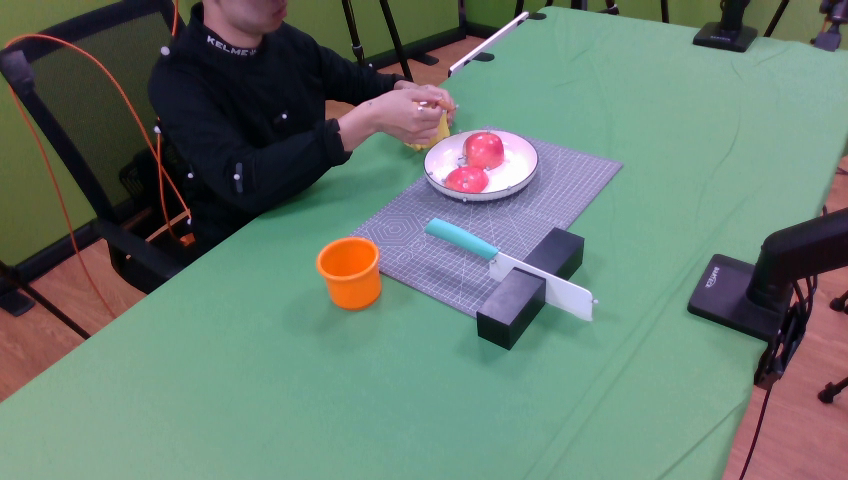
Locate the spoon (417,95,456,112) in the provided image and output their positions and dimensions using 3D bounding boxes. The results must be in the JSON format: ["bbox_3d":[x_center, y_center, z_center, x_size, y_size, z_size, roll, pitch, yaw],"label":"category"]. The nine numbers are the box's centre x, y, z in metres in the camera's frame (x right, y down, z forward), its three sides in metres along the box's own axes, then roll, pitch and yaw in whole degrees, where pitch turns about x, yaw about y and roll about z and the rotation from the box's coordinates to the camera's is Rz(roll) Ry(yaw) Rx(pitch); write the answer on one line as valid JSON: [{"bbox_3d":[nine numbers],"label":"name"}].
[{"bbox_3d":[0.022,-0.246,1.091,0.042,0.022,0.192,-16,18,-9],"label":"spoon"}]

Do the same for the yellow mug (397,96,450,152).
[{"bbox_3d":[-0.004,-0.226,1.201,0.099,0.064,0.130,5,43,15],"label":"yellow mug"}]

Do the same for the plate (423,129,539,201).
[{"bbox_3d":[0.103,-0.132,1.092,0.209,0.038,0.208,-4,40,4],"label":"plate"}]

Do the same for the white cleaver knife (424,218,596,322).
[{"bbox_3d":[0.114,0.042,0.865,0.284,0.066,0.021,27,47,28],"label":"white cleaver knife"}]

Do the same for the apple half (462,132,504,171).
[{"bbox_3d":[0.109,-0.170,1.110,0.075,0.053,0.080,-6,40,-2],"label":"apple half"}]

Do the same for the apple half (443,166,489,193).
[{"bbox_3d":[0.074,-0.112,1.062,0.081,0.033,0.081,-6,39,5],"label":"apple half"}]
